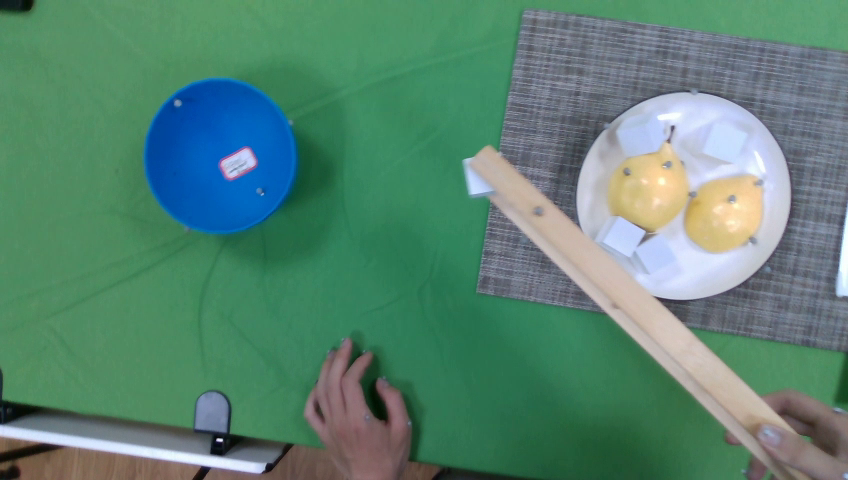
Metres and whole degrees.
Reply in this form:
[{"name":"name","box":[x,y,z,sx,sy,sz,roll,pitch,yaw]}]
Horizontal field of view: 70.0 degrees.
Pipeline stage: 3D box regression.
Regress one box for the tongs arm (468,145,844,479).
[{"name":"tongs arm","box":[0.177,0.066,0.465,0.028,0.028,0.386,-44,82,-6]}]

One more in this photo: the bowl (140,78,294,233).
[{"name":"bowl","box":[-0.200,-0.083,0.624,0.151,0.077,0.151,0,93,4]}]

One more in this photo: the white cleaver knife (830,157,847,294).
[{"name":"white cleaver knife","box":[0.449,0.031,0.616,0.065,0.021,0.286,5,90,14]}]

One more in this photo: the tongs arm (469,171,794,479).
[{"name":"tongs arm","box":[0.179,0.069,0.488,0.026,0.051,0.384,-44,86,-3]}]

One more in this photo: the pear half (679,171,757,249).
[{"name":"pear half","box":[0.300,-0.032,0.604,0.070,0.031,0.088,39,100,-2]}]

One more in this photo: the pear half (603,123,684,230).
[{"name":"pear half","box":[0.224,-0.068,0.599,0.076,0.056,0.110,18,90,-1]}]

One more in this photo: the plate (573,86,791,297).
[{"name":"plate","box":[0.254,-0.047,0.611,0.207,0.039,0.207,0,93,4]}]
